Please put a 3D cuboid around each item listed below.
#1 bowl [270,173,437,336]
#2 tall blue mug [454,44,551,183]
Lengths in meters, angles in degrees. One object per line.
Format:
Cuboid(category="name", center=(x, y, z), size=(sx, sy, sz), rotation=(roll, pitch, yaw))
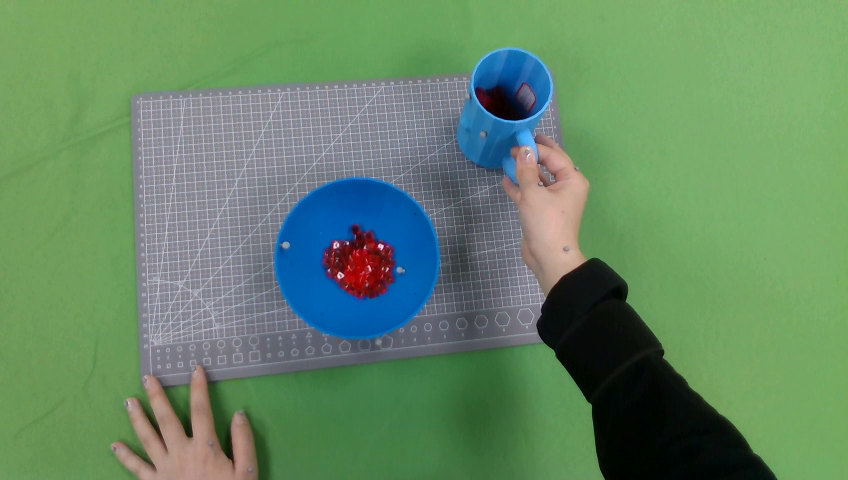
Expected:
Cuboid(category="bowl", center=(-0.065, 0.018, 0.583), size=(0.151, 0.077, 0.151), rotation=(1, 81, -5))
Cuboid(category="tall blue mug", center=(0.085, -0.120, 0.600), size=(0.107, 0.108, 0.077), rotation=(43, 76, 7))
